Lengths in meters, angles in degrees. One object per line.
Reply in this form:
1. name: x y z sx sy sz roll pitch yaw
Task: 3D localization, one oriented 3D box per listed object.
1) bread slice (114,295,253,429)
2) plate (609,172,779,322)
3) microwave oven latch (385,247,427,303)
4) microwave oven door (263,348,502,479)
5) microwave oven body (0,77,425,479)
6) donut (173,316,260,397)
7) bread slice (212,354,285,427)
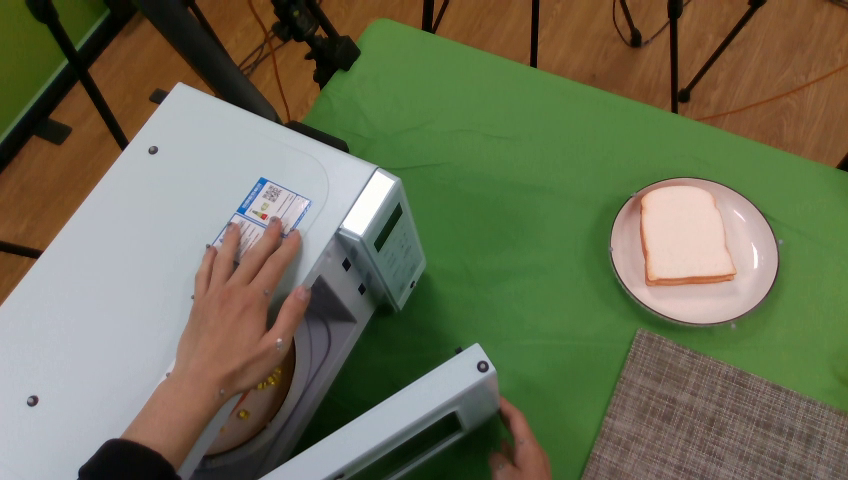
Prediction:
1. bread slice: -0.263 0.128 0.686 0.106 0.018 0.134 35 67 11
2. plate: 0.347 0.010 0.794 0.207 0.039 0.206 -3 66 6
3. microwave oven latch: -0.025 0.043 0.806 0.030 0.030 0.079 28 74 17
4. microwave oven door: -0.081 0.237 0.618 0.356 0.246 0.039 -31 65 -6
5. microwave oven body: -0.250 0.092 0.707 0.324 0.262 0.440 25 72 16
6. donut: -0.243 0.137 0.715 0.099 0.048 0.098 3 60 -4
7. bread slice: -0.256 0.177 0.756 0.104 0.019 0.131 38 47 24
